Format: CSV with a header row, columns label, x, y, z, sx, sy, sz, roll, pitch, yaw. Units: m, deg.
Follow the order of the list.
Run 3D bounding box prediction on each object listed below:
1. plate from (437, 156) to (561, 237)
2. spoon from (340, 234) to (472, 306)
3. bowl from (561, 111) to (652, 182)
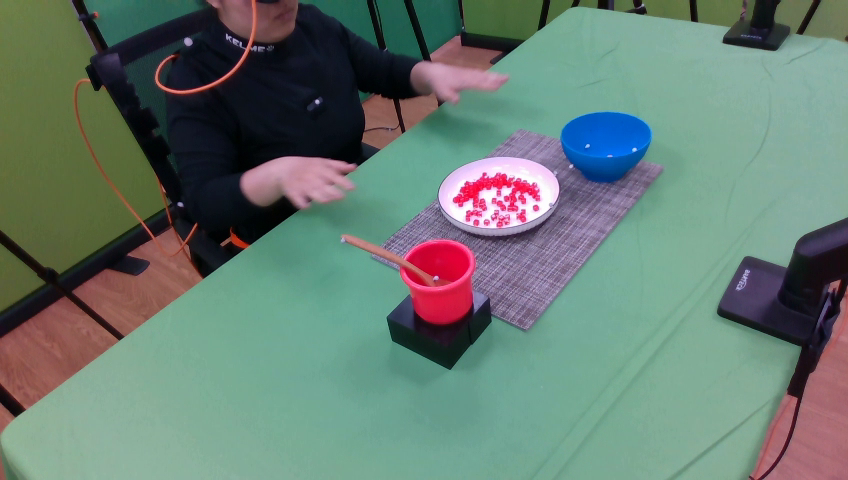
label,x,y,z,sx,sy,sz,roll,pitch,yaw
plate,0.127,-0.070,1.023,0.207,0.039,0.206,-5,40,5
spoon,-0.020,0.036,0.770,0.195,0.021,0.041,31,37,-21
bowl,0.314,-0.153,1.054,0.151,0.077,0.150,-5,40,5
